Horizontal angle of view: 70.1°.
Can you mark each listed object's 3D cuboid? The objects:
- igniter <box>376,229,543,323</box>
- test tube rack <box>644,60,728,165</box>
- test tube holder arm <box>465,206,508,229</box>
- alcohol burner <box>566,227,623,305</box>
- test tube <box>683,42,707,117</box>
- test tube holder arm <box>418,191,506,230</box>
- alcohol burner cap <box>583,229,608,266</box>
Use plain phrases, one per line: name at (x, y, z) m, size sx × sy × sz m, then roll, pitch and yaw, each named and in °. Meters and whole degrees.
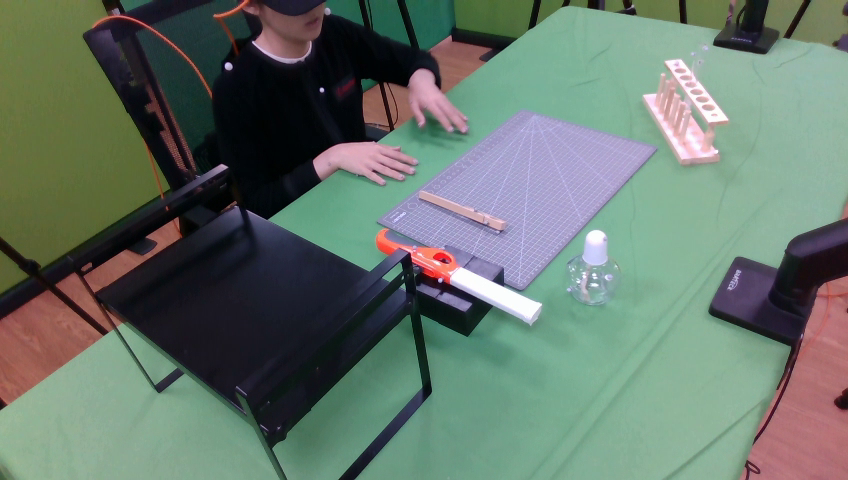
igniter at (0.038, 0.044, 0.843) m, size 0.274 × 0.025 × 0.057 m, roll 25°, pitch 47°, yaw 29°
test tube rack at (0.485, -0.246, 1.140) m, size 0.067 × 0.085 × 0.241 m, roll -5°, pitch 41°, yaw 4°
test tube holder arm at (0.100, -0.038, 1.005) m, size 0.087 × 0.015 × 0.010 m, roll 23°, pitch 14°, yaw 32°
alcohol burner at (0.236, 0.031, 0.833) m, size 0.078 × 0.119 × 0.077 m, roll -6°, pitch 39°, yaw 5°
test tube at (0.497, -0.292, 1.114) m, size 0.017 × 0.151 × 0.017 m, roll -4°, pitch 44°, yaw 4°
test tube holder arm at (0.061, -0.052, 1.024) m, size 0.177 × 0.015 × 0.013 m, roll 23°, pitch 14°, yaw 31°
alcohol burner cap at (0.233, 0.007, 0.814) m, size 0.034 × 0.048 × 0.033 m, roll -4°, pitch 40°, yaw 4°
